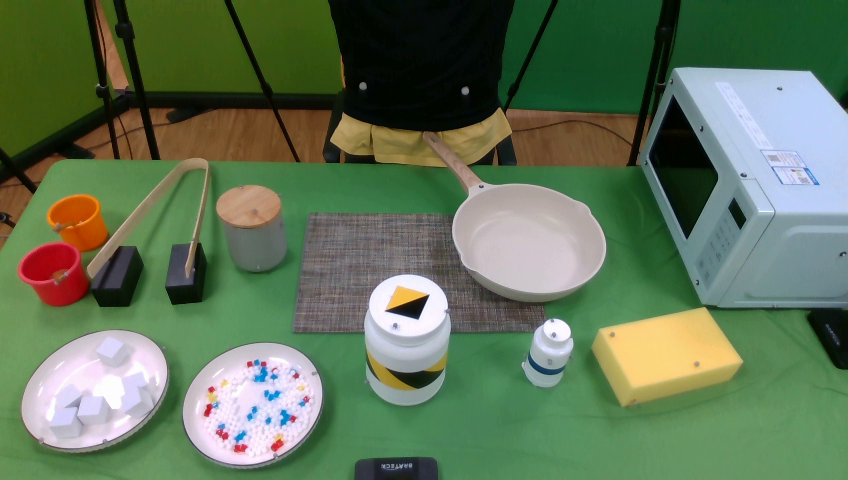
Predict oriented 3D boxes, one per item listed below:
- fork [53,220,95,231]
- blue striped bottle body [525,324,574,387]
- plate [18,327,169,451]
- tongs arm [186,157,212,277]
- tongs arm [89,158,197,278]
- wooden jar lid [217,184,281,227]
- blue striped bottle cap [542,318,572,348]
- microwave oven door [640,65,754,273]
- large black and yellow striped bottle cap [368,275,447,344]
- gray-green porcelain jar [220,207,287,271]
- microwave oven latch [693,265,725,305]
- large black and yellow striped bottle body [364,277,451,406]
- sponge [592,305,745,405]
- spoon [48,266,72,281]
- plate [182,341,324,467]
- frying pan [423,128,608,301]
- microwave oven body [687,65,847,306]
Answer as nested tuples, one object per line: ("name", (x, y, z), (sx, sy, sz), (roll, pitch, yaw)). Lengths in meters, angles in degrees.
("fork", (-0.627, -0.026, 1.086), (0.028, 0.018, 0.207), (0, 2, -15))
("blue striped bottle body", (0.202, 0.179, 0.970), (0.063, 0.121, 0.062), (2, 46, -2))
("plate", (-0.498, 0.229, 0.929), (0.208, 0.039, 0.206), (2, 47, -2))
("tongs arm", (-0.445, -0.058, 1.168), (0.051, 0.026, 0.382), (-5, 37, -6))
("tongs arm", (-0.530, -0.058, 1.164), (0.028, 0.028, 0.385), (1, 36, 8))
("wooden jar lid", (-0.307, -0.057, 1.067), (0.108, 0.021, 0.107), (5, 44, -4))
("blue striped bottle cap", (0.205, 0.143, 0.933), (0.044, 0.021, 0.044), (0, 47, 0))
("microwave oven door", (0.523, -0.147, 1.193), (0.039, 0.245, 0.353), (0, 47, -3))
("large black and yellow striped bottle cap", (-0.024, 0.098, 0.871), (0.115, 0.019, 0.114), (2, 45, -2))
("gray-green porcelain jar", (-0.309, -0.014, 1.113), (0.106, 0.127, 0.105), (2, 47, -1))
("microwave oven latch", (0.523, 0.082, 1.116), (0.030, 0.029, 0.078), (2, 46, -1))
("large black and yellow striped bottle body", (-0.026, 0.155, 0.933), (0.131, 0.185, 0.130), (2, 47, -2))
("sponge", (0.405, 0.190, 1.014), (0.207, 0.061, 0.117), (-10, 48, -13))
("spoon", (-0.609, 0.057, 1.010), (0.041, 0.022, 0.193), (-33, 14, -27))
("plate", (-0.257, 0.250, 0.927), (0.209, 0.038, 0.208), (3, 46, -2))
("frying pan", (0.142, -0.069, 1.208), (0.307, 0.103, 0.485), (-23, 60, -25))
("microwave oven body", (0.669, -0.111, 1.176), (0.326, 0.261, 0.439), (0, 46, -3))
